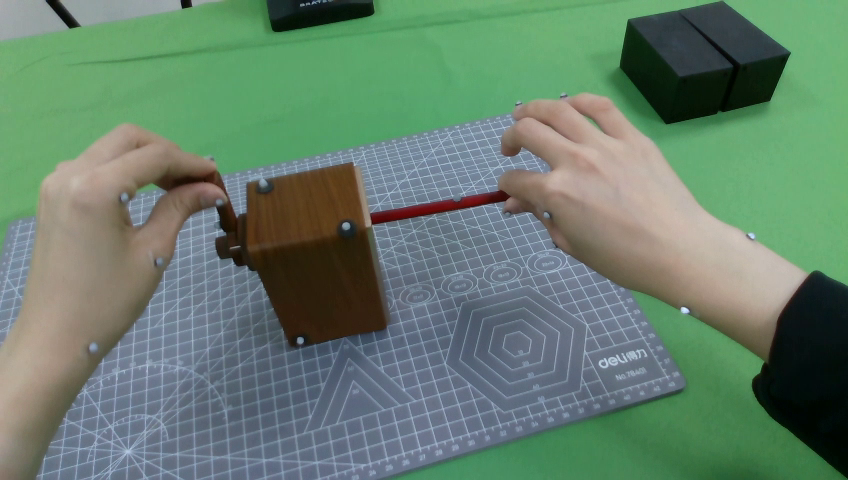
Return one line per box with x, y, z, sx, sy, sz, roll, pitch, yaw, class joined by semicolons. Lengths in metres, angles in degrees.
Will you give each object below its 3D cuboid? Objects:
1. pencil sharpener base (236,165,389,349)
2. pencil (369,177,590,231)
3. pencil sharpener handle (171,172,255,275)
-0.069;0.015;0.390;0.077;0.108;0.060;-12;49;-5;pencil sharpener base
0.010;-0.018;0.378;0.194;0.012;0.012;-11;48;-5;pencil
-0.123;-0.007;0.357;0.031;0.068;0.035;-12;30;-5;pencil sharpener handle
